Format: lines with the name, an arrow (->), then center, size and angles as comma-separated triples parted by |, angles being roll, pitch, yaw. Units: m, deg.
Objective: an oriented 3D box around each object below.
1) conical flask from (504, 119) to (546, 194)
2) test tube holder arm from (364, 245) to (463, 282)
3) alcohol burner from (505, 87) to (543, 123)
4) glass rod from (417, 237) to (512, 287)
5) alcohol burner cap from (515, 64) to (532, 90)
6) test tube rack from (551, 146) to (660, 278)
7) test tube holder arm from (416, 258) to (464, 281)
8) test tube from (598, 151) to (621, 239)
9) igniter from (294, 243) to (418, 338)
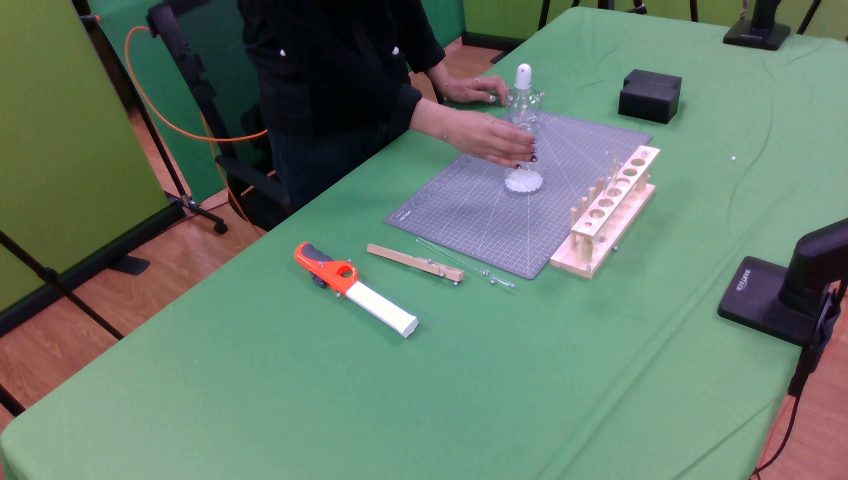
conical flask -> 0.173, -0.146, 1.041 | 0.075, 0.122, 0.075 | -6, 40, 5
test tube holder arm -> -0.020, 0.034, 0.947 | 0.177, 0.015, 0.013 | 16, 10, 26
alcohol burner -> 0.202, -0.298, 1.222 | 0.078, 0.119, 0.077 | -4, 40, 4
glass rod -> 0.059, 0.032, 0.945 | 0.198, 0.008, 0.008 | 26, 52, 38
alcohol burner cap -> 0.199, -0.324, 1.198 | 0.034, 0.048, 0.033 | 0, 45, 1
test tube rack -> 0.286, -0.053, 0.943 | 0.066, 0.085, 0.243 | 21, 49, 32
test tube holder arm -> 0.022, 0.045, 0.931 | 0.087, 0.015, 0.010 | 16, 10, 28
test tube -> 0.269, -0.062, 0.880 | 0.017, 0.151, 0.017 | -3, 39, 3
igniter -> -0.114, 0.070, 0.919 | 0.274, 0.025, 0.057 | 29, 63, 37
